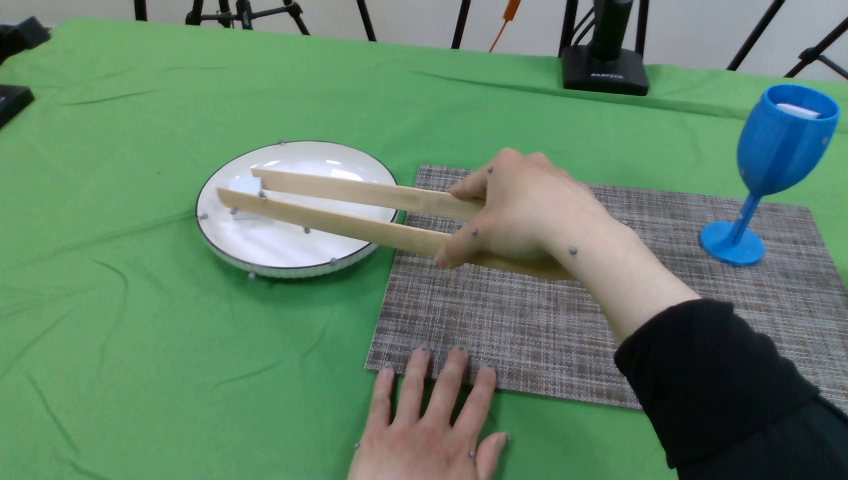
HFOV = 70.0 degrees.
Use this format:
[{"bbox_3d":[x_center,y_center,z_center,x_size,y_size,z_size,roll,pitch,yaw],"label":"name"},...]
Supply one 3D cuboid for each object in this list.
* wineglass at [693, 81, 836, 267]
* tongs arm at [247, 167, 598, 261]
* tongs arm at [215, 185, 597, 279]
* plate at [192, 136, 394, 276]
[{"bbox_3d":[0.321,-0.060,0.584,0.074,0.174,0.073,1,44,-1],"label":"wineglass"},{"bbox_3d":[-0.027,-0.033,0.550,0.385,0.028,0.028,12,32,31],"label":"tongs arm"},{"bbox_3d":[-0.042,-0.019,0.530,0.382,0.027,0.050,13,36,33],"label":"tongs arm"},{"bbox_3d":[-0.133,-0.036,0.640,0.209,0.038,0.207,1,44,-1],"label":"plate"}]
